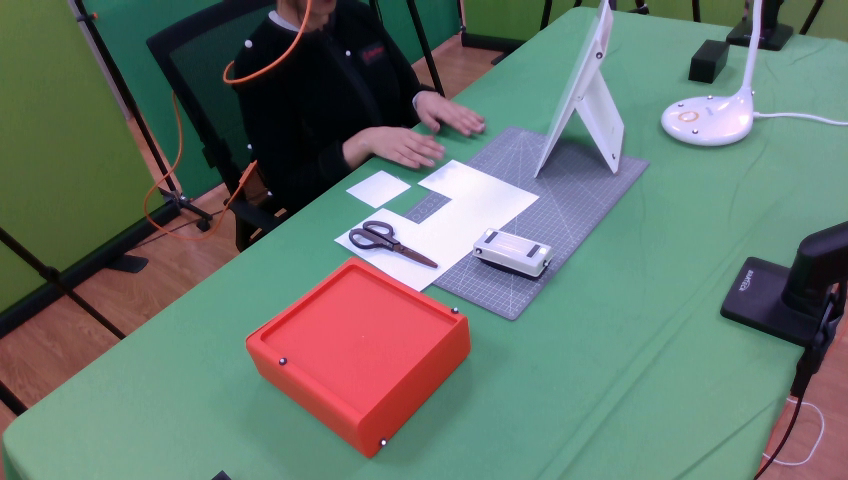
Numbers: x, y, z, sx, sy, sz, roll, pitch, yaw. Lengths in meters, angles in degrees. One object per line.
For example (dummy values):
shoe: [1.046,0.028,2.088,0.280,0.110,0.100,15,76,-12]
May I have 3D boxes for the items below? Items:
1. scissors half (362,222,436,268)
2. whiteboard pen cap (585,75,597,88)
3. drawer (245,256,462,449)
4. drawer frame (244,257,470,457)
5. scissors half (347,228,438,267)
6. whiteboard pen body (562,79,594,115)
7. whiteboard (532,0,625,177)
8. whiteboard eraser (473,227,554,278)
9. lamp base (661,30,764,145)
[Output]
scissors half: [-0.040,0.008,0.988,0.040,0.013,0.173,-19,37,-37]
whiteboard pen cap: [0.362,-0.343,1.310,0.018,0.018,0.033,19,54,29]
drawer: [-0.089,0.136,0.792,0.210,0.073,0.195,26,51,34]
drawer frame: [-0.084,0.138,0.788,0.212,0.083,0.202,25,50,33]
scissors half: [-0.054,0.015,0.974,0.174,0.013,0.040,19,37,24]
whiteboard pen body: [0.328,-0.306,1.277,0.017,0.017,0.141,20,52,30]
whiteboard: [0.320,-0.259,1.050,0.144,0.306,0.217,21,45,5]
whiteboard eraser: [0.134,0.020,0.913,0.112,0.042,0.056,20,50,29]
lamp base: [0.535,-0.287,1.096,0.179,0.181,0.159,-10,40,-4]
